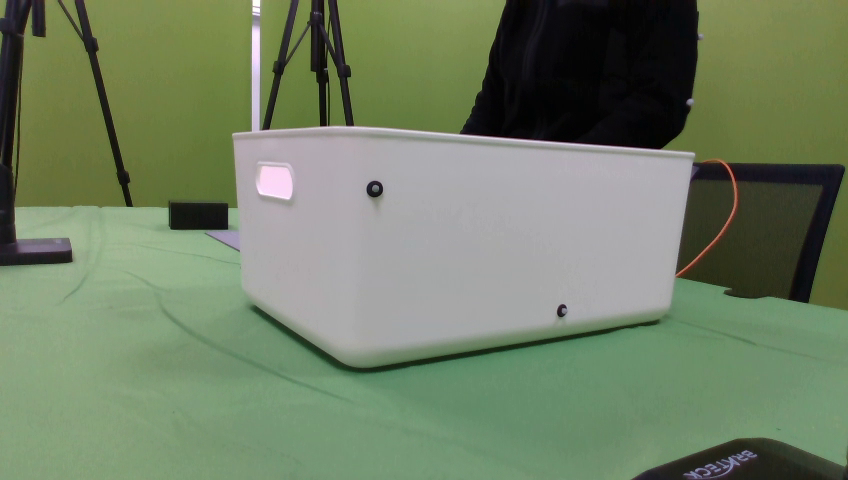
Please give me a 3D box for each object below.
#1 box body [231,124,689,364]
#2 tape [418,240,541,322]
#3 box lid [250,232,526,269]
[{"bbox_3d":[0.031,-0.013,0.563,0.366,0.160,0.253,-3,8,-33],"label":"box body"},{"bbox_3d":[0.052,0.035,0.571,0.117,0.052,0.117,1,10,0],"label":"tape"},{"bbox_3d":[-0.057,0.012,0.934,0.373,0.015,0.262,-2,8,-32],"label":"box lid"}]
